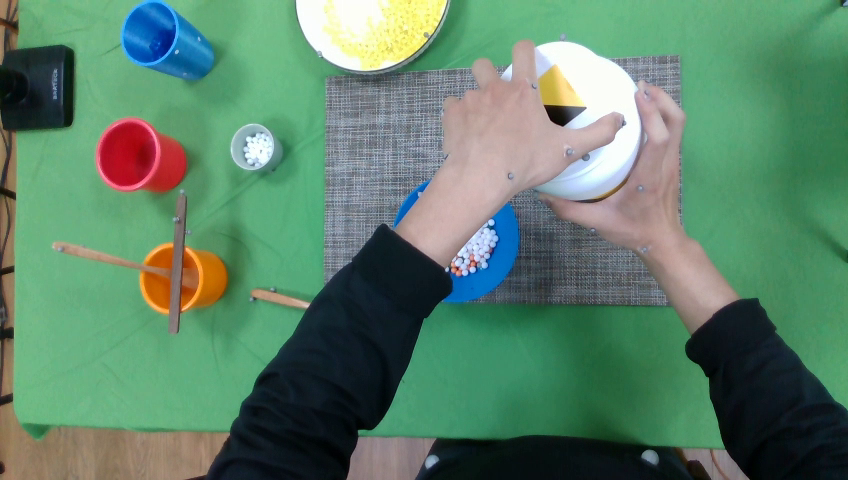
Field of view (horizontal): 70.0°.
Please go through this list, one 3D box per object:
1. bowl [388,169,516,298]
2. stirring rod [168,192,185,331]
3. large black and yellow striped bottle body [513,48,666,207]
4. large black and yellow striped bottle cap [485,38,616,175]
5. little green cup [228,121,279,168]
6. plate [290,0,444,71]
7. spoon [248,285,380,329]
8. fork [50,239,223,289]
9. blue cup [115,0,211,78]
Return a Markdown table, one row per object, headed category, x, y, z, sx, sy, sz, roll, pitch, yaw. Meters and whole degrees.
| category | x | y | z | sx | sy | sz | roll | pitch | yaw |
| --- | --- | --- | --- | --- | --- | --- | --- | --- | --- |
| bowl | 0.039 | -0.006 | 0.734 | 0.151 | 0.077 | 0.151 | 0 | 88 | 11 |
| stirring rod | -0.313 | 0.027 | 0.767 | 0.014 | 0.006 | 0.176 | 2 | 89 | 10 |
| large black and yellow striped bottle body | 0.153 | -0.107 | 0.592 | 0.130 | 0.185 | 0.130 | -3 | 84 | 31 |
| large black and yellow striped bottle cap | 0.104 | -0.113 | 0.517 | 0.114 | 0.019 | 0.114 | -4 | 84 | 34 |
| little green cup | -0.226 | -0.125 | 0.814 | 0.061 | 0.039 | 0.061 | 0 | 88 | 12 |
| plate | -0.072 | -0.320 | 0.791 | 0.209 | 0.038 | 0.209 | 0 | 88 | 11 |
| spoon | -0.148 | 0.082 | 0.800 | 0.193 | 0.021 | 0.042 | 10 | 104 | 11 |
| fork | -0.364 | 0.030 | 0.780 | 0.209 | 0.018 | 0.028 | 18 | 94 | -32 |
| blue cup | -0.339 | -0.261 | 0.809 | 0.092 | 0.100 | 0.092 | 0 | 88 | 13 |
